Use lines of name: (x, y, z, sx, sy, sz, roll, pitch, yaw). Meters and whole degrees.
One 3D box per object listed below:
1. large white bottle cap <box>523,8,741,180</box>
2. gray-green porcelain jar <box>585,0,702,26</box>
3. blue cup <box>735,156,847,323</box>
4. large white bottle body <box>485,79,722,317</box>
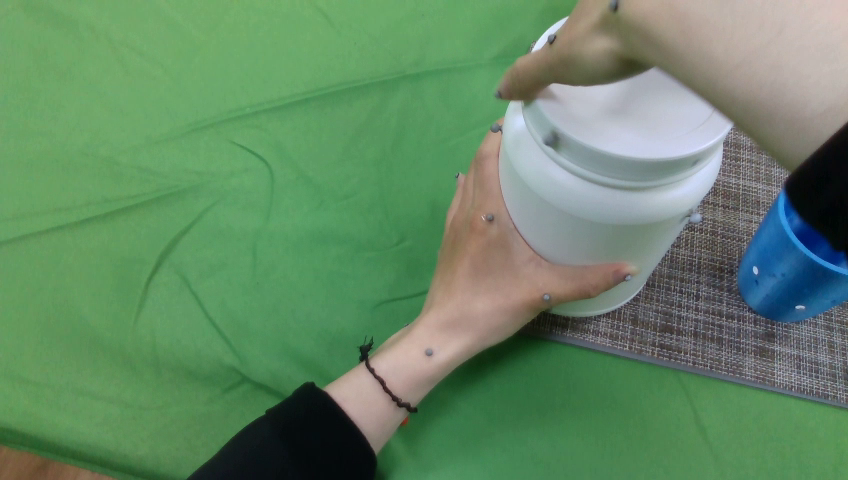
large white bottle cap: (0.112, -0.084, 0.333, 0.115, 0.018, 0.114, 0, 60, 1)
gray-green porcelain jar: (0.211, -0.247, 0.564, 0.106, 0.127, 0.105, 0, 60, 0)
blue cup: (0.269, 0.012, 0.426, 0.092, 0.101, 0.092, 0, 58, 1)
large white bottle body: (0.113, -0.041, 0.407, 0.130, 0.186, 0.129, 0, 60, 0)
